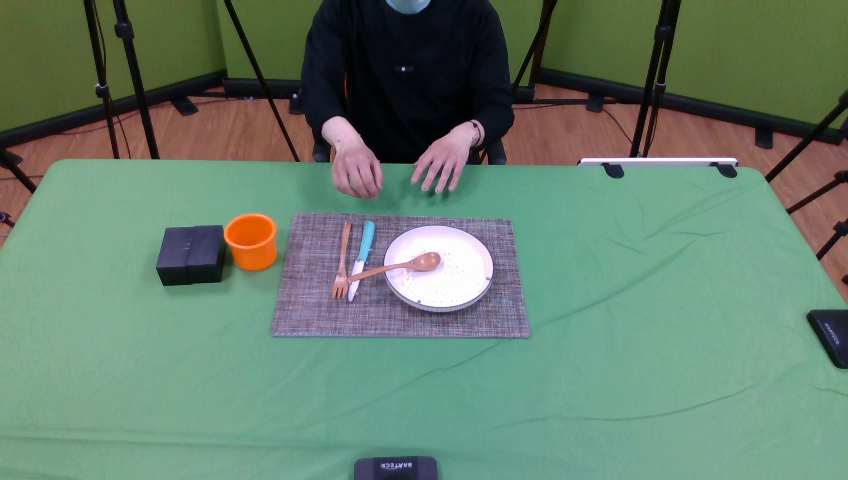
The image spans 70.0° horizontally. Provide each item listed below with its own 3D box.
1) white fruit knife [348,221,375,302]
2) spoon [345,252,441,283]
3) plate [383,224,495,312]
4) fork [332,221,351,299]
[{"bbox_3d":[-0.119,0.037,1.153,0.027,0.016,0.206,-16,42,25],"label":"white fruit knife"},{"bbox_3d":[-0.054,0.051,1.106,0.194,0.022,0.041,-10,47,-30],"label":"spoon"},{"bbox_3d":[0.026,0.055,1.128,0.209,0.038,0.208,2,46,-2],"label":"plate"},{"bbox_3d":[-0.153,0.034,1.149,0.028,0.019,0.206,-6,47,6],"label":"fork"}]
